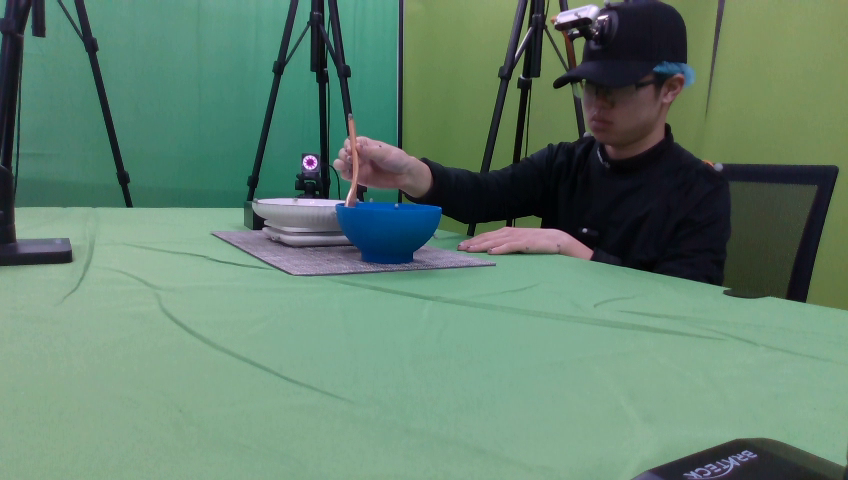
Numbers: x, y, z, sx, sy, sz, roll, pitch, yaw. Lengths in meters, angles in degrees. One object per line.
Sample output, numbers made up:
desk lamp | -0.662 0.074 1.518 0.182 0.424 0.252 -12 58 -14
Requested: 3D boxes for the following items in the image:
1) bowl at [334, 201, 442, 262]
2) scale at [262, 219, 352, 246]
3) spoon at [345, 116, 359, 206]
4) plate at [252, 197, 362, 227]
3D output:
bowl | -0.051 -0.012 0.848 0.151 0.077 0.151 2 7 0
scale | -0.160 -0.015 1.028 0.202 0.031 0.148 -2 8 -32
spoon | -0.102 -0.096 0.872 0.021 0.193 0.042 -5 -23 9
plate | -0.179 -0.047 1.012 0.209 0.038 0.209 2 6 0
